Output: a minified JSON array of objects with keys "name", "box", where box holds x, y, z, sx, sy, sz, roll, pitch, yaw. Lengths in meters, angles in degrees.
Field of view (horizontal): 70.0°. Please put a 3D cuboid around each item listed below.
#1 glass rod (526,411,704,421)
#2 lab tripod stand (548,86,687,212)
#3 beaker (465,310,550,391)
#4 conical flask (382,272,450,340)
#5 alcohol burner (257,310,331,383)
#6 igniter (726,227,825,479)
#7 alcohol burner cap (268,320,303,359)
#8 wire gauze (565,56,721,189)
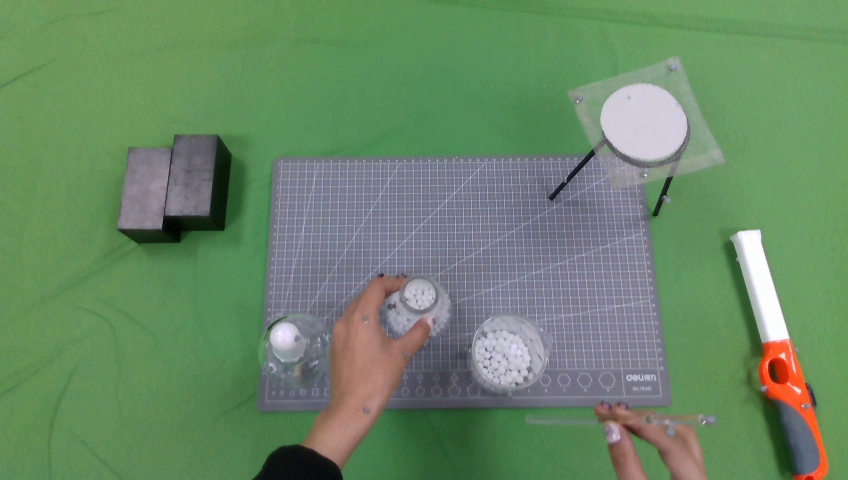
[{"name":"glass rod","box":[0.132,0.135,0.460,0.008,0.199,0.008,7,72,-22]},{"name":"lab tripod stand","box":[0.219,-0.096,0.676,0.148,0.132,0.147,0,74,-1]},{"name":"beaker","box":[0.083,0.117,0.627,0.084,0.101,0.073,-18,74,-6]},{"name":"conical flask","box":[-0.008,0.061,0.621,0.075,0.122,0.075,0,77,-2]},{"name":"alcohol burner","box":[-0.136,0.106,0.622,0.078,0.120,0.077,1,71,-2]},{"name":"igniter","box":[0.386,0.118,0.669,0.057,0.025,0.275,-4,73,-12]},{"name":"alcohol burner cap","box":[-0.136,0.094,0.588,0.034,0.048,0.033,3,65,-5]},{"name":"wire gauze","box":[0.221,-0.119,0.613,0.125,0.011,0.120,-16,75,-5]}]
